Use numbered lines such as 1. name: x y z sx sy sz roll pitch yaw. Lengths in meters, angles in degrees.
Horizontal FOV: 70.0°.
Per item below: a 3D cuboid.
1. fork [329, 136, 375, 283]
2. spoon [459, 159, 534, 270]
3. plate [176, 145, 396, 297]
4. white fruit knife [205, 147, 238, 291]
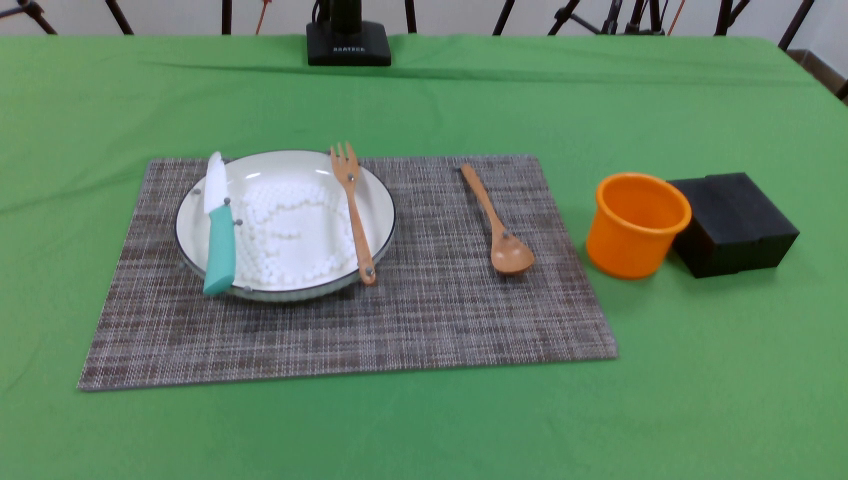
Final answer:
1. fork: -0.070 -0.037 0.594 0.028 0.019 0.205 -13 45 -5
2. spoon: 0.070 -0.034 0.648 0.041 0.022 0.191 -19 47 0
3. plate: -0.132 -0.020 0.600 0.209 0.038 0.207 3 44 -3
4. white fruit knife: -0.193 -0.030 0.573 0.027 0.016 0.205 -10 45 -12
